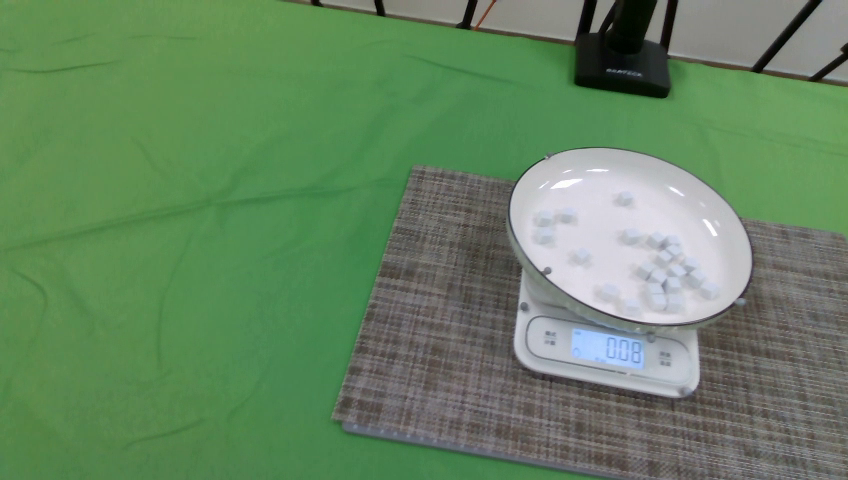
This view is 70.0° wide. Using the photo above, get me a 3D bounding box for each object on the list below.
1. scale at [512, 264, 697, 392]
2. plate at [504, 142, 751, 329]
[{"bbox_3d":[0.160,0.032,0.537,0.148,0.032,0.199,10,48,5],"label":"scale"},{"bbox_3d":[0.171,-0.006,0.528,0.209,0.038,0.207,3,48,-3],"label":"plate"}]
